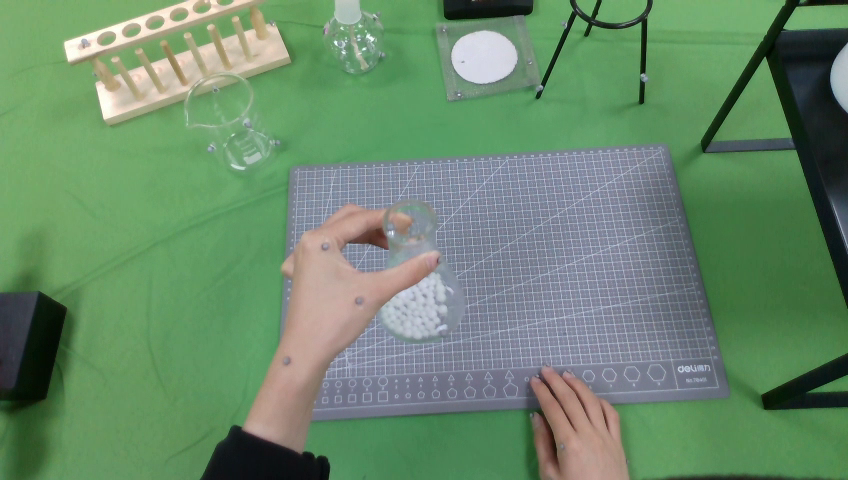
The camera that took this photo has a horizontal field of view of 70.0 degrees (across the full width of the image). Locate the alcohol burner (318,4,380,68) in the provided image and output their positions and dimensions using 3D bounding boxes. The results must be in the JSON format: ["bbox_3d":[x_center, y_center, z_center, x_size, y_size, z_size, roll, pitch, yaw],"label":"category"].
[{"bbox_3d":[-0.094,-0.271,0.744,0.078,0.120,0.077,0,63,1],"label":"alcohol burner"}]

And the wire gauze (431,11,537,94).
[{"bbox_3d":[0.076,-0.247,0.784,0.121,0.011,0.124,-7,65,-2],"label":"wire gauze"}]

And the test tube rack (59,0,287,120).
[{"bbox_3d":[-0.304,-0.239,0.752,0.242,0.086,0.066,-22,67,-8],"label":"test tube rack"}]

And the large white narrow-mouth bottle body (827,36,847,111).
[{"bbox_3d":[0.394,-0.175,0.441,0.102,0.196,0.101,-1,64,2],"label":"large white narrow-mouth bottle body"}]

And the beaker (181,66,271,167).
[{"bbox_3d":[-0.224,-0.135,0.695,0.073,0.101,0.084,42,74,19],"label":"beaker"}]

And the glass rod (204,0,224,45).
[{"bbox_3d":[-0.261,-0.301,0.706,0.008,0.201,0.008,1,63,-2],"label":"glass rod"}]

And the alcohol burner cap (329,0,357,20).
[{"bbox_3d":[-0.095,-0.288,0.712,0.034,0.048,0.033,3,64,-6],"label":"alcohol burner cap"}]

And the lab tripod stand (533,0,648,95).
[{"bbox_3d":[0.203,-0.242,0.709,0.148,0.132,0.147,0,65,0],"label":"lab tripod stand"}]

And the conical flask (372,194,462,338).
[{"bbox_3d":[-0.009,0.017,0.462,0.075,0.123,0.074,-2,54,3],"label":"conical flask"}]
